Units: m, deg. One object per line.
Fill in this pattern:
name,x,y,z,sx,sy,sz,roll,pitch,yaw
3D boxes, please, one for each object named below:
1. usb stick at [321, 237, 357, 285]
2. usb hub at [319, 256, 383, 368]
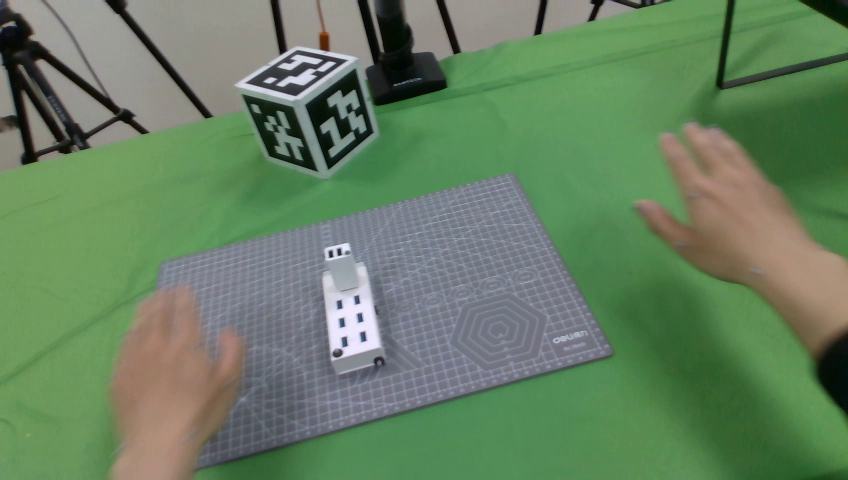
usb stick,-0.084,0.027,0.615,0.027,0.060,0.021,-18,44,-3
usb hub,-0.076,0.069,0.611,0.049,0.025,0.123,-15,42,-2
